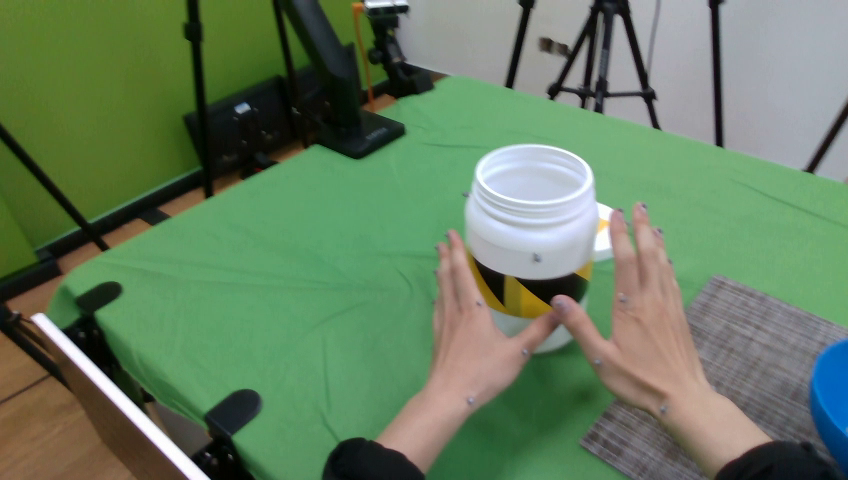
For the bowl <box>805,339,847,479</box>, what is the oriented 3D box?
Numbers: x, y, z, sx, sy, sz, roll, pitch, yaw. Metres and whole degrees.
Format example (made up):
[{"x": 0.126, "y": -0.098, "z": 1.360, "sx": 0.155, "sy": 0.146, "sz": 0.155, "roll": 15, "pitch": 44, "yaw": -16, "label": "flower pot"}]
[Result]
[{"x": 0.381, "y": 0.159, "z": 0.487, "sx": 0.151, "sy": 0.077, "sz": 0.150, "roll": -2, "pitch": 37, "yaw": 2, "label": "bowl"}]

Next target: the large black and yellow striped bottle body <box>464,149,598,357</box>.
[{"x": 0.105, "y": 0.013, "z": 0.620, "sx": 0.131, "sy": 0.185, "sz": 0.129, "roll": -2, "pitch": 37, "yaw": 2, "label": "large black and yellow striped bottle body"}]

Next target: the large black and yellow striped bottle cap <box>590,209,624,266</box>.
[{"x": 0.200, "y": -0.008, "z": 0.784, "sx": 0.115, "sy": 0.019, "sz": 0.114, "roll": -1, "pitch": 37, "yaw": 1, "label": "large black and yellow striped bottle cap"}]
